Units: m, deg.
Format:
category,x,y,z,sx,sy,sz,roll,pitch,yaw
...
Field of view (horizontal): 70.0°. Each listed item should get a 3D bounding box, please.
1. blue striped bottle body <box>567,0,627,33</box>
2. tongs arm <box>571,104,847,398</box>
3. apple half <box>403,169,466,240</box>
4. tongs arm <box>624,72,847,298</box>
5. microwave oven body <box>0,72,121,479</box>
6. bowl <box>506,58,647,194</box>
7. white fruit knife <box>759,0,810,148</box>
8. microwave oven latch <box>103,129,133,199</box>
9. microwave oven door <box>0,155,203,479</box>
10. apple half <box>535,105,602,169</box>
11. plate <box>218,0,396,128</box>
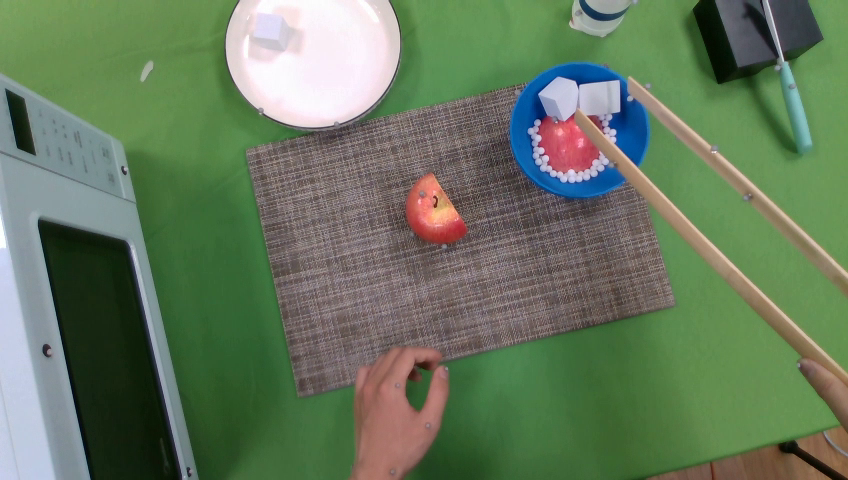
category,x,y,z,sx,sy,sz,roll,pitch,yaw
blue striped bottle body,0.206,-0.291,0.686,0.063,0.121,0.063,0,83,1
tongs arm,0.253,0.005,0.522,0.028,0.028,0.383,-31,62,-9
apple half,0.006,-0.033,0.683,0.053,0.074,0.081,-34,88,2
tongs arm,0.286,-0.015,0.524,0.051,0.027,0.381,-33,62,-6
microwave oven body,-0.457,0.114,0.577,0.326,0.260,0.440,-16,85,-2
bowl,0.164,-0.119,0.687,0.151,0.077,0.151,0,84,1
white fruit knife,0.407,-0.202,0.693,0.016,0.027,0.208,-20,101,16
microwave oven latch,-0.359,-0.084,0.693,0.030,0.029,0.079,-15,85,-2
microwave oven door,-0.304,0.115,0.571,0.039,0.244,0.355,-16,84,-1
apple half,0.166,-0.120,0.683,0.081,0.033,0.081,0,83,3
plate,-0.136,-0.231,0.725,0.208,0.039,0.207,0,84,0
